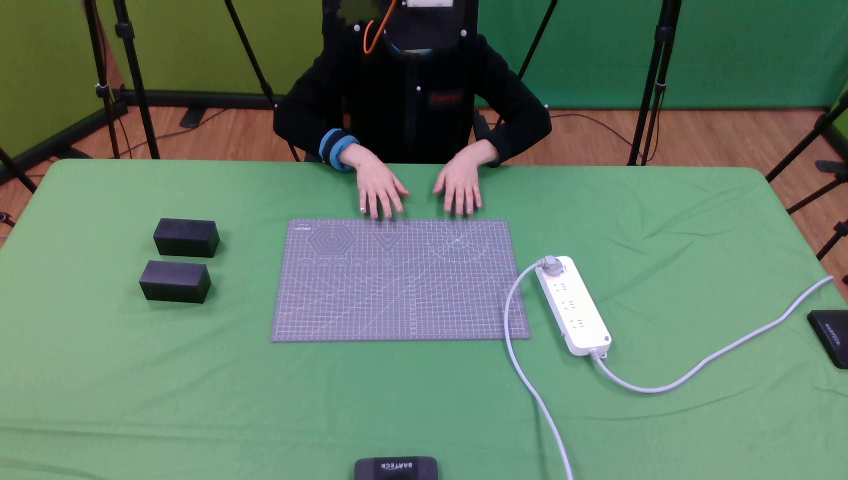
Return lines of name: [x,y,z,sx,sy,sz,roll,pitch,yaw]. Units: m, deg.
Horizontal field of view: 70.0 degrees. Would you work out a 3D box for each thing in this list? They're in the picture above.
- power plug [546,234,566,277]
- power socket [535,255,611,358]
power plug: [0.242,0.031,1.107,0.035,0.073,0.052,0,30,11]
power socket: [0.266,0.114,1.097,0.072,0.033,0.225,-7,47,-9]
